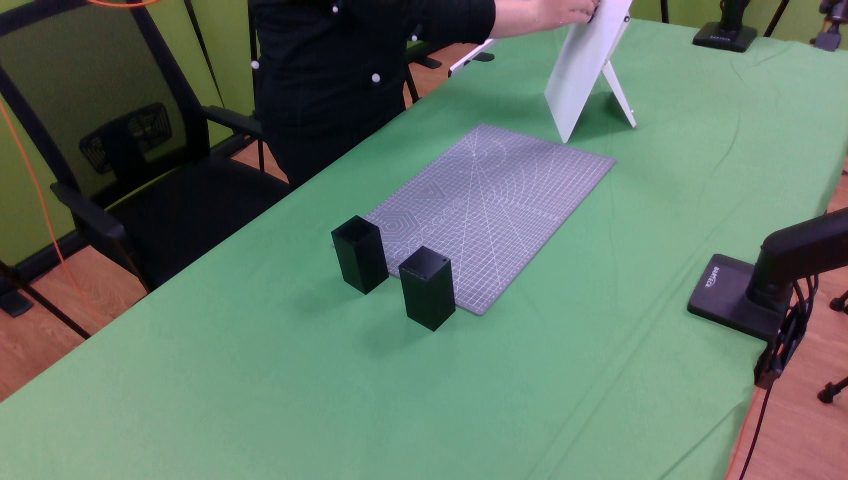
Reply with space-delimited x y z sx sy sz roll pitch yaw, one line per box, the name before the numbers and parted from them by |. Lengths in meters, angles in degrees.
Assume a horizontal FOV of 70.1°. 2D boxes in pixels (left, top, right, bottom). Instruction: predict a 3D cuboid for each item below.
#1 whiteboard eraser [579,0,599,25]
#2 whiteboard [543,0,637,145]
whiteboard eraser | 0.312 -0.450 1.120 0.019 0.101 0.041 3 40 -11
whiteboard | 0.366 -0.351 1.161 0.144 0.306 0.216 9 39 -9
